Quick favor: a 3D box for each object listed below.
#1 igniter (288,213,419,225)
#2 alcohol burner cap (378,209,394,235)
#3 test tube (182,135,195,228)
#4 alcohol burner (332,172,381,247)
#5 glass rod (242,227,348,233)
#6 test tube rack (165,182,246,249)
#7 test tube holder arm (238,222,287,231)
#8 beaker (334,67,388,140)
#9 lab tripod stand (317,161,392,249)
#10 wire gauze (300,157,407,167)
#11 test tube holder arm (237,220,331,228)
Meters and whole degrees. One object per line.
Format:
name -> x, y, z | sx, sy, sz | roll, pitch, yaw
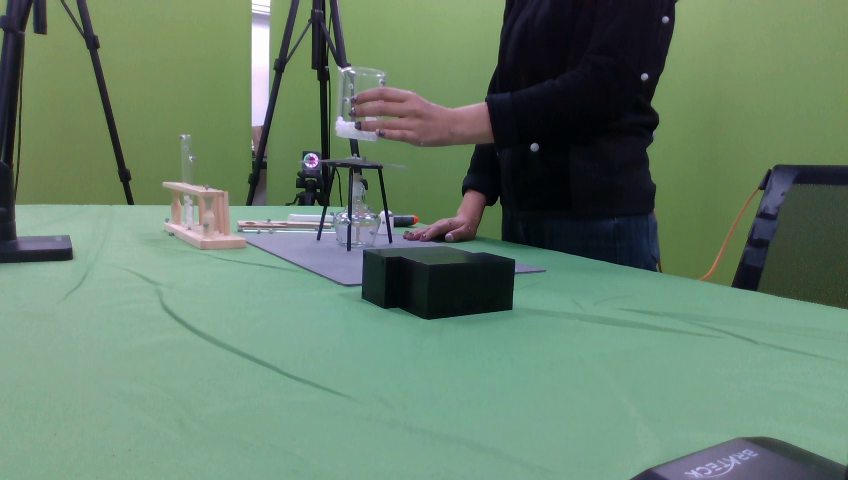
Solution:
igniter -> -0.145, -0.044, 1.278 | 0.278, 0.025, 0.057 | -1, -2, -21
alcohol burner cap -> -0.072, -0.035, 1.145 | 0.034, 0.048, 0.034 | 2, 8, 0
test tube -> -0.382, -0.095, 0.983 | 0.017, 0.150, 0.017 | -1, 2, 0
alcohol burner -> -0.107, -0.048, 0.961 | 0.078, 0.119, 0.078 | 1, 9, 0
glass rod -> -0.232, -0.017, 1.110 | 0.201, 0.008, 0.008 | 1, 6, -30
test tube rack -> -0.360, -0.044, 0.983 | 0.067, 0.085, 0.241 | -3, 9, -34
test tube holder arm -> -0.297, -0.024, 1.113 | 0.088, 0.015, 0.010 | -2, 41, -32
beaker -> -0.096, -0.201, 0.891 | 0.073, 0.100, 0.084 | 14, 13, 38
lab tripod stand -> -0.111, -0.059, 0.964 | 0.148, 0.131, 0.148 | 4, 8, 0
wire gauze -> -0.112, -0.126, 0.959 | 0.121, 0.011, 0.126 | 10, 11, 41
test tube holder arm -> -0.261, -0.029, 1.141 | 0.179, 0.015, 0.013 | -2, 42, -33
